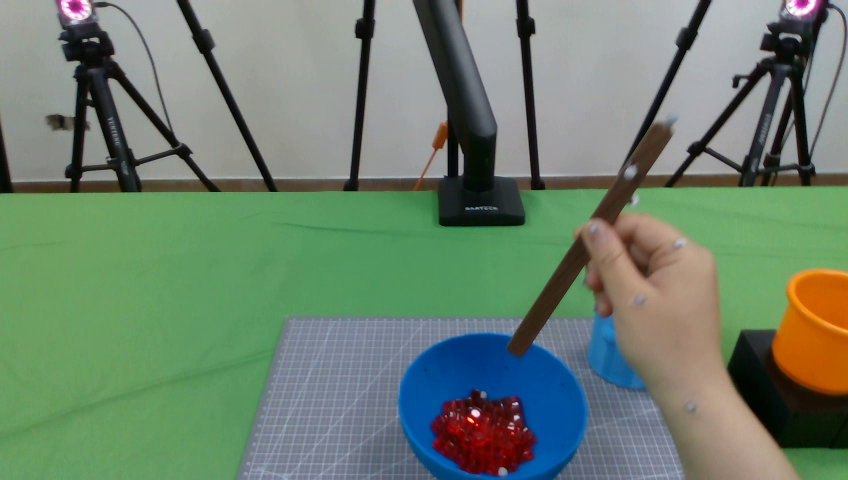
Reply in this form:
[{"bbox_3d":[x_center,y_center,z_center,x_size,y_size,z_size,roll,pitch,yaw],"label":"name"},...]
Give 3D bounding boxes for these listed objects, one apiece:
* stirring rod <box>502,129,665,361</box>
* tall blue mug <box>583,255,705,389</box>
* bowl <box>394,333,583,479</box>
[{"bbox_3d":[0.098,0.009,0.386,0.014,0.176,0.006,28,21,0],"label":"stirring rod"},{"bbox_3d":[0.215,0.084,0.582,0.106,0.109,0.077,17,37,22],"label":"tall blue mug"},{"bbox_3d":[0.050,0.157,0.502,0.151,0.077,0.150,1,34,0],"label":"bowl"}]
